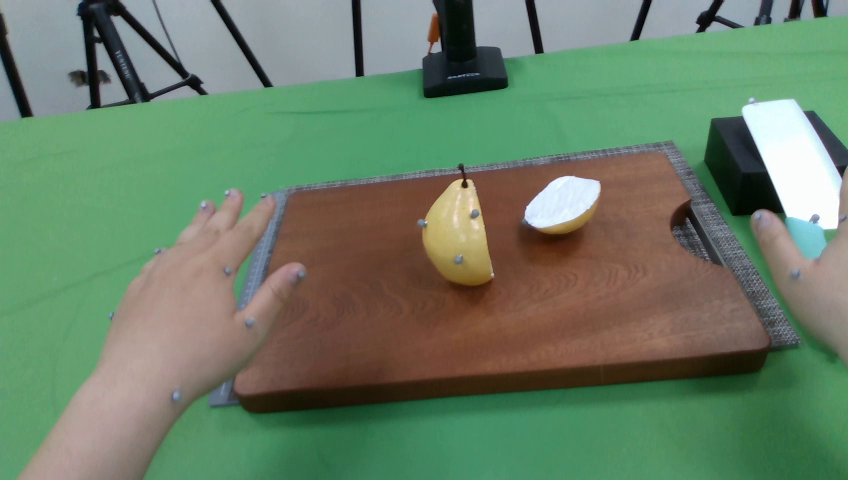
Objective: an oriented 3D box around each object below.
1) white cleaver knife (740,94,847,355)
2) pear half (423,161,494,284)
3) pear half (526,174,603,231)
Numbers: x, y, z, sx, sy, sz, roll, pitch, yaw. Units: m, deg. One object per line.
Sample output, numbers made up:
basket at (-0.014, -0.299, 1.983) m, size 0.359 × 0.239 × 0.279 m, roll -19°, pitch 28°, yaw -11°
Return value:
white cleaver knife at (0.336, -0.031, 0.516) m, size 0.066 × 0.022 × 0.284 m, roll -3°, pitch 55°, yaw 10°
pear half at (0.025, -0.016, 0.496) m, size 0.056 × 0.111 × 0.075 m, roll -12°, pitch 36°, yaw -3°
pear half at (0.130, -0.031, 0.552) m, size 0.070 × 0.031 × 0.087 m, roll -12°, pitch 24°, yaw 20°
